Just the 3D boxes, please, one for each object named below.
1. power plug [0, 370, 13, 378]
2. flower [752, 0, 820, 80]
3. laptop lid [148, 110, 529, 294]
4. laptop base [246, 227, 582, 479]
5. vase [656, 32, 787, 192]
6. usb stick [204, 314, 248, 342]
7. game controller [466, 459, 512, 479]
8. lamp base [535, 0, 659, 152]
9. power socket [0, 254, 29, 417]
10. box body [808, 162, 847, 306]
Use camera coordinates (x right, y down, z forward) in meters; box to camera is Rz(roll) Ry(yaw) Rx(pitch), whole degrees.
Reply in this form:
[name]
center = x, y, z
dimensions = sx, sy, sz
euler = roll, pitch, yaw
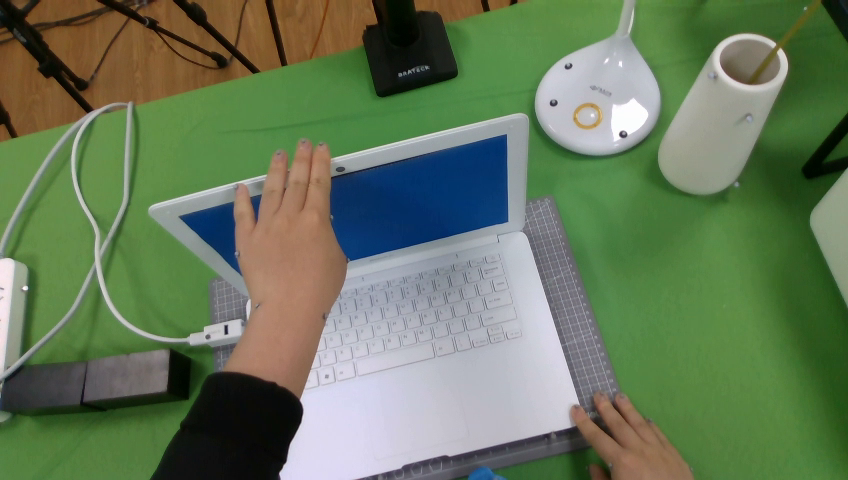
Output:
[power plug]
center = -0.505, 0.173, 0.709
dimensions = 0.072, 0.053, 0.035
euler = 0, 66, 6
[flower]
center = 0.332, -0.171, 0.592
dimensions = 0.038, 0.364, 0.043
euler = 2, 57, -10
[laptop lid]
center = -0.064, -0.025, 0.636
dimensions = 0.357, 0.244, 0.013
euler = -15, 64, 2
[laptop base]
center = -0.023, 0.129, 0.698
dimensions = 0.354, 0.023, 0.233
euler = -14, 70, 1
[vase]
center = 0.322, -0.135, 0.668
dimensions = 0.098, 0.201, 0.097
euler = -3, 65, 8
[usb stick]
center = -0.228, 0.104, 0.720
dimensions = 0.059, 0.027, 0.021
euler = -10, 66, -3
[game controller]
center = 0.034, 0.292, 0.609
dimensions = 0.155, 0.052, 0.096
euler = -28, 63, -6
[lamp base]
center = 0.221, -0.227, 0.730
dimensions = 0.160, 0.182, 0.178
euler = 18, 68, 14
[power socket]
center = -0.545, 0.119, 0.759
dimensions = 0.072, 0.033, 0.225
euler = -11, 66, 1
[box body]
center = 0.579, 0.062, 0.574
dimensions = 0.254, 0.161, 0.361
euler = -12, 66, 2
